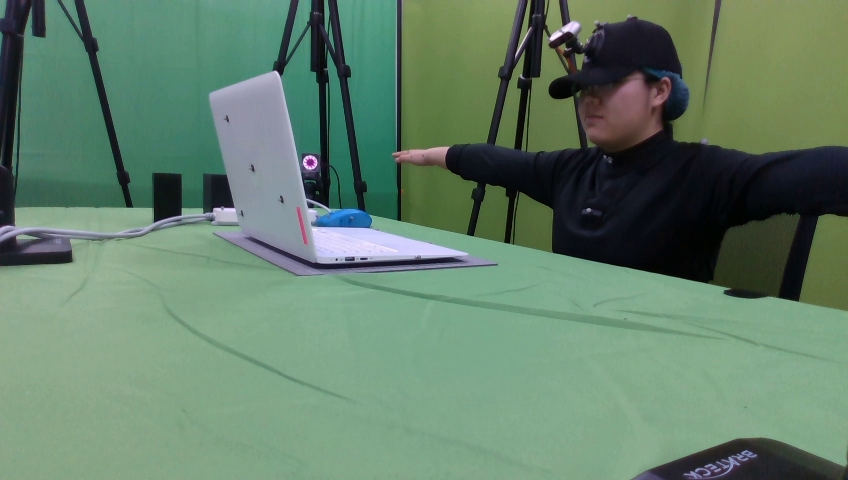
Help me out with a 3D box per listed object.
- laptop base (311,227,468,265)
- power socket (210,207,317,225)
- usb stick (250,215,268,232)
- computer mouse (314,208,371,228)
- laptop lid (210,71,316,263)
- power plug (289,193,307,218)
[{"bbox_3d":[-0.123,0.007,0.952,0.237,0.023,0.352,2,6,-32],"label":"laptop base"},{"bbox_3d":[-0.335,-0.051,1.281,0.228,0.032,0.072,-1,8,-28],"label":"power socket"},{"bbox_3d":[-0.290,-0.028,1.069,0.021,0.027,0.059,0,11,-30],"label":"usb stick"},{"bbox_3d":[-0.173,-0.046,1.284,0.118,0.041,0.062,-7,13,-30],"label":"computer mouse"},{"bbox_3d":[-0.241,-0.104,0.861,0.013,0.241,0.355,-16,17,-29],"label":"laptop lid"},{"bbox_3d":[-0.281,-0.076,1.341,0.035,0.052,0.072,3,7,-17],"label":"power plug"}]
